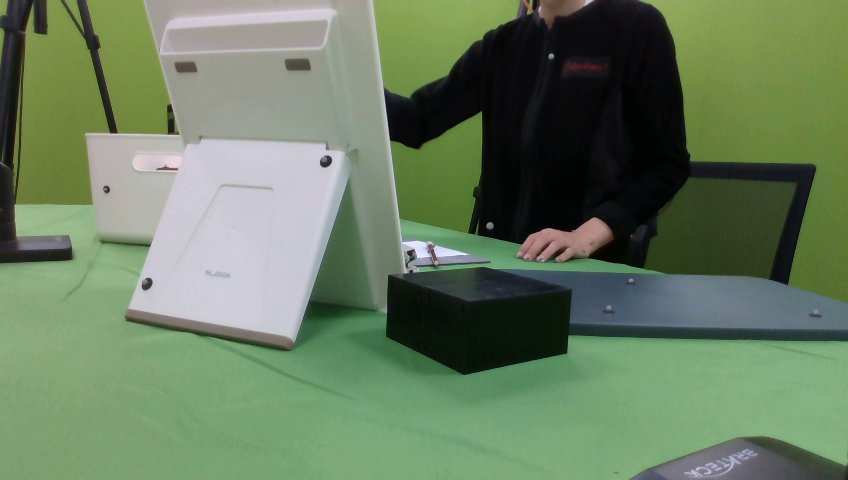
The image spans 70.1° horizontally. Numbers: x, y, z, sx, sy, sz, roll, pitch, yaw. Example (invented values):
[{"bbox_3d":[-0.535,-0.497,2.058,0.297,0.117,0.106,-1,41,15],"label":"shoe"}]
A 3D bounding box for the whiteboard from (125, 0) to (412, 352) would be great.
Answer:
[{"bbox_3d":[-0.151,-0.049,0.472,0.216,0.305,0.144,6,27,24],"label":"whiteboard"}]

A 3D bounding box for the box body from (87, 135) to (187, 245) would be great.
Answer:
[{"bbox_3d":[-0.338,-0.088,1.022,0.254,0.160,0.364,3,7,9],"label":"box body"}]

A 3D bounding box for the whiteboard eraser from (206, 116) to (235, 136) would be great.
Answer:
[{"bbox_3d":[-0.450,-0.252,1.335,0.056,0.042,0.112,1,7,-22],"label":"whiteboard eraser"}]

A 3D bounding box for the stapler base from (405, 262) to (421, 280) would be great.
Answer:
[{"bbox_3d":[-0.069,0.027,0.759,0.130,0.024,0.041,9,13,23],"label":"stapler base"}]

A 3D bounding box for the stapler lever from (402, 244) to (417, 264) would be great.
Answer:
[{"bbox_3d":[-0.066,0.003,0.755,0.117,0.040,0.027,9,13,23],"label":"stapler lever"}]

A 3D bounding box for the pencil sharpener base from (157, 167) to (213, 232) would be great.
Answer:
[{"bbox_3d":[-0.406,-0.069,1.025,0.061,0.107,0.077,2,8,9],"label":"pencil sharpener base"}]

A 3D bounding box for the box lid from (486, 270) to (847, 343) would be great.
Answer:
[{"bbox_3d":[0.266,0.066,0.643,0.372,0.015,0.263,2,7,-5],"label":"box lid"}]

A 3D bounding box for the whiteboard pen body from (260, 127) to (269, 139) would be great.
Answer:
[{"bbox_3d":[-0.366,-0.247,1.392,0.017,0.017,0.140,0,3,-17],"label":"whiteboard pen body"}]

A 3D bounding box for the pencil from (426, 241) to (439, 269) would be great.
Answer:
[{"bbox_3d":[0.013,0.021,0.885,0.012,0.012,0.194,2,9,-3],"label":"pencil"}]

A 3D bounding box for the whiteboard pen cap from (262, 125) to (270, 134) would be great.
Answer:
[{"bbox_3d":[-0.349,-0.244,1.337,0.018,0.018,0.033,0,2,-17],"label":"whiteboard pen cap"}]

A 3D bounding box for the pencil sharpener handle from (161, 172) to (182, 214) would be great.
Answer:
[{"bbox_3d":[-0.411,-0.075,0.973,0.036,0.067,0.031,-11,6,11],"label":"pencil sharpener handle"}]
